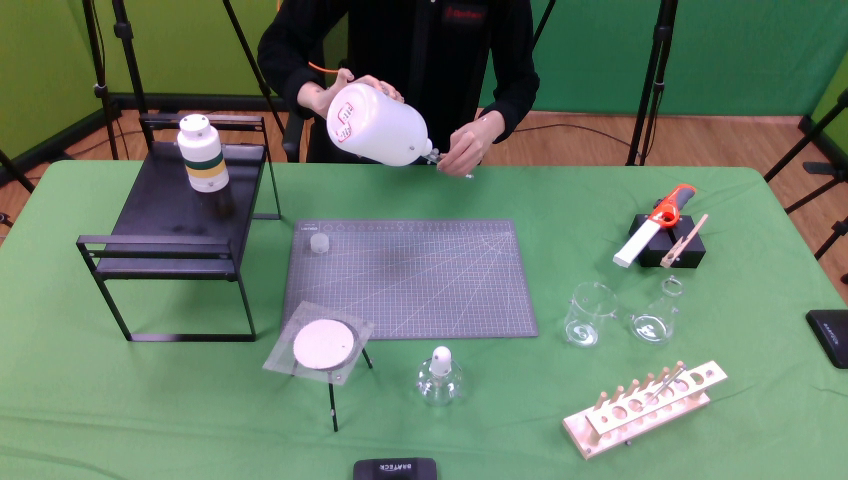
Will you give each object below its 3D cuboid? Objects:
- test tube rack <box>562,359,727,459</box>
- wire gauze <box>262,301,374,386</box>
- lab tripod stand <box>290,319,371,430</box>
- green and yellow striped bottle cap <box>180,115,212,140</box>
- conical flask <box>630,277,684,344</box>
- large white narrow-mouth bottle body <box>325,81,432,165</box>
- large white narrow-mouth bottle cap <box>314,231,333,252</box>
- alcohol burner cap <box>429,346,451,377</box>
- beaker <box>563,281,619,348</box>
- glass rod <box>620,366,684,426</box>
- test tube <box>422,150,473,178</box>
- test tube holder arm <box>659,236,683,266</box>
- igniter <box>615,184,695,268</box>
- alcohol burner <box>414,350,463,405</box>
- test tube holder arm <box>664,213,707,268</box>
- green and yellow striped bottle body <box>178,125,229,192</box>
[{"bbox_3d":[0.341,0.247,0.940,0.243,0.085,0.066,-16,49,-18],"label":"test tube rack"},{"bbox_3d":[-0.150,0.148,0.873,0.121,0.011,0.124,14,46,12],"label":"wire gauze"},{"bbox_3d":[-0.146,0.194,0.923,0.148,0.132,0.147,1,47,-1],"label":"lab tripod stand"},{"bbox_3d":[-0.358,-0.177,0.951,0.045,0.020,0.045,2,45,-2],"label":"green and yellow striped bottle cap"},{"bbox_3d":[0.408,0.117,1.045,0.075,0.122,0.075,2,46,-2],"label":"conical flask"},{"bbox_3d":[-0.056,-0.173,0.959,0.195,0.102,0.101,14,28,-51],"label":"large white narrow-mouth bottle body"},{"bbox_3d":[-0.195,0.003,1.178,0.038,0.024,0.037,2,45,-2],"label":"large white narrow-mouth bottle cap"},{"bbox_3d":[0.026,0.180,0.912,0.034,0.048,0.033,1,47,-1],"label":"alcohol burner cap"},{"bbox_3d":[0.283,0.129,1.041,0.074,0.101,0.083,11,46,6],"label":"beaker"},{"bbox_3d":[0.323,0.227,0.866,0.008,0.200,0.008,5,51,-6],"label":"glass rod"},{"bbox_3d":[0.044,-0.137,1.093,0.151,0.017,0.017,17,26,-51],"label":"test tube"},{"bbox_3d":[0.472,0.020,1.149,0.010,0.015,0.088,35,54,27],"label":"test tube holder arm"},{"bbox_3d":[0.459,-0.035,1.197,0.057,0.025,0.276,33,55,27],"label":"igniter"},{"bbox_3d":[0.023,0.205,0.939,0.078,0.120,0.077,1,48,-1],"label":"alcohol burner"},{"bbox_3d":[0.507,-0.001,1.171,0.013,0.015,0.178,34,53,26],"label":"test tube holder arm"},{"bbox_3d":[-0.361,-0.142,0.989,0.063,0.120,0.063,2,46,-2],"label":"green and yellow striped bottle body"}]
